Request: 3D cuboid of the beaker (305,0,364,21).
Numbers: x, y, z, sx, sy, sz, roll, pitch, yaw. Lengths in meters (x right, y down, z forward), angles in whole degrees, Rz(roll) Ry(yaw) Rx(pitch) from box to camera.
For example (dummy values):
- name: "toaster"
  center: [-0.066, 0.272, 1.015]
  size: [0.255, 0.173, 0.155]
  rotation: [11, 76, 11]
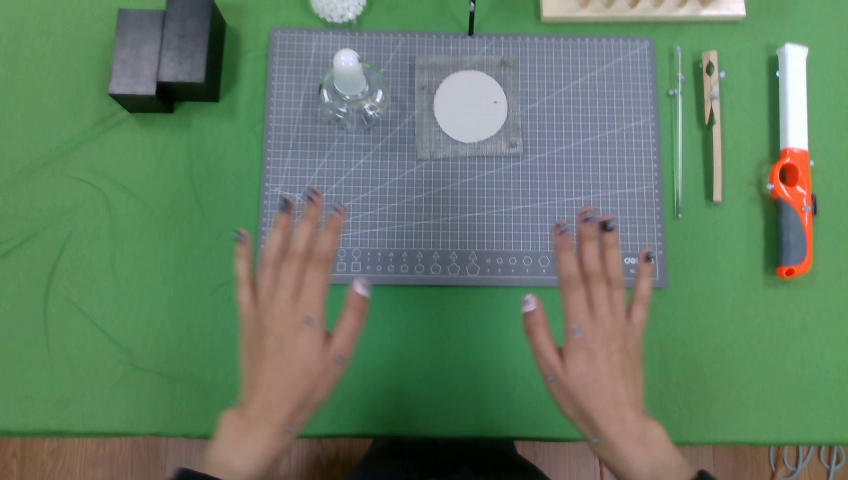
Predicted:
- name: "beaker"
  center: [-0.106, -0.297, 0.668]
  size: [0.084, 0.100, 0.074]
  rotation: [19, 80, 3]

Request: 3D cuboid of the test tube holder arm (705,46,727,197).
- name: "test tube holder arm"
  center: [0.333, -0.137, 0.692]
  size: [0.013, 0.015, 0.177]
  rotation: [-9, 77, 35]

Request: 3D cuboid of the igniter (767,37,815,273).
- name: "igniter"
  center: [0.415, -0.097, 0.686]
  size: [0.057, 0.025, 0.275]
  rotation: [7, 80, -10]

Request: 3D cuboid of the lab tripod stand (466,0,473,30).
- name: "lab tripod stand"
  center: [0.045, -0.329, 0.659]
  size: [0.148, 0.132, 0.148]
  rotation: [0, 79, 0]

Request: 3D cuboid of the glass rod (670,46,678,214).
- name: "glass rod"
  center: [0.288, -0.128, 0.698]
  size: [0.008, 0.008, 0.199]
  rotation: [4, 83, -1]

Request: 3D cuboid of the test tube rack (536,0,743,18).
- name: "test tube rack"
  center: [0.255, -0.307, 0.687]
  size: [0.242, 0.085, 0.066]
  rotation: [-2, 80, -2]

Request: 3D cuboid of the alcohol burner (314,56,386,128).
- name: "alcohol burner"
  center: [-0.079, -0.165, 0.636]
  size: [0.078, 0.119, 0.077]
  rotation: [0, 78, 0]

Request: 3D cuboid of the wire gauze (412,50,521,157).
- name: "wire gauze"
  center: [0.047, -0.157, 0.692]
  size: [0.121, 0.011, 0.124]
  rotation: [-2, 84, -3]

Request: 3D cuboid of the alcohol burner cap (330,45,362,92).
- name: "alcohol burner cap"
  center: [-0.079, -0.173, 0.601]
  size: [0.034, 0.048, 0.033]
  rotation: [1, 71, -4]

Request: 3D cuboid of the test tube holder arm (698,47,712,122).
- name: "test tube holder arm"
  center: [0.327, -0.180, 0.703]
  size: [0.010, 0.015, 0.087]
  rotation: [-7, 78, 35]
